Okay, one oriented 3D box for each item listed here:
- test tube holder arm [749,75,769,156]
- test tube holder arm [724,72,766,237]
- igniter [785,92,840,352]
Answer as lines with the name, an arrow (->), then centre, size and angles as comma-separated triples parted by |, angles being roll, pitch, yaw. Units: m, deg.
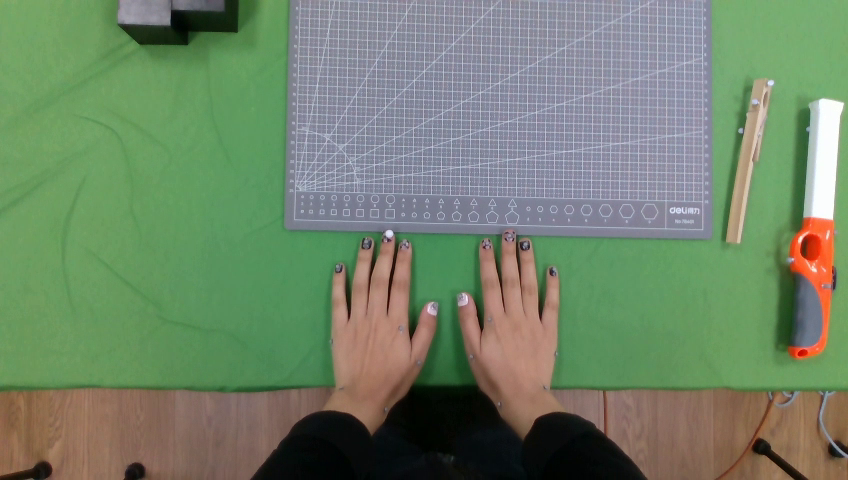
test tube holder arm -> 0.355, -0.134, 0.651 | 0.010, 0.015, 0.087 | 14, 87, -36
test tube holder arm -> 0.342, -0.091, 0.646 | 0.013, 0.015, 0.178 | 12, 88, -36
igniter -> 0.414, -0.018, 0.644 | 0.057, 0.025, 0.276 | 7, 88, -13
